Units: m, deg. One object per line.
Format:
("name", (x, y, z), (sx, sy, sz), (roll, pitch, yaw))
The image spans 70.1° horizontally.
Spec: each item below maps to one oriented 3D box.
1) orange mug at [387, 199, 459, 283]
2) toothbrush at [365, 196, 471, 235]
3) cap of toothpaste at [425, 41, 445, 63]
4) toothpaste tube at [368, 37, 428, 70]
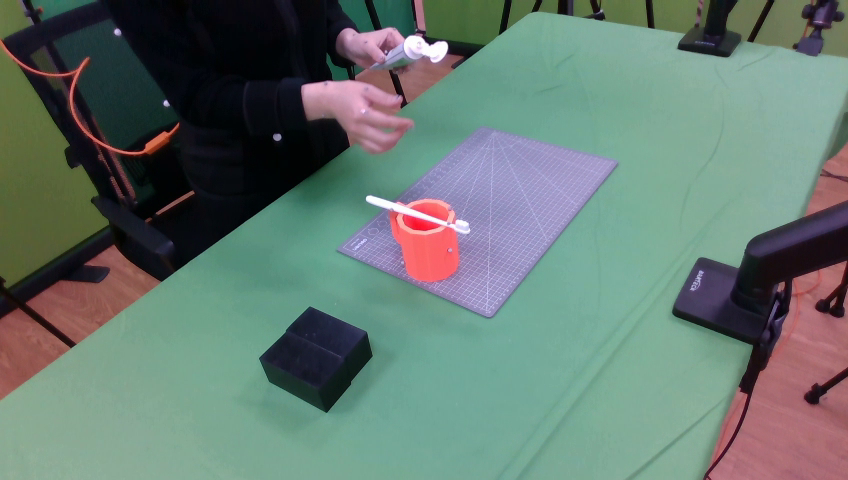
("orange mug", (-0.006, -0.007, 0.922), (0.125, 0.101, 0.084), (32, 54, 32))
("toothbrush", (-0.013, -0.039, 0.880), (0.180, 0.017, 0.014), (18, 50, 27))
("cap of toothpaste", (0.017, -0.287, 0.917), (0.037, 0.011, 0.037), (-18, 61, 37))
("toothpaste tube", (-0.039, -0.298, 0.987), (0.055, 0.034, 0.164), (-4, 5, -26))
